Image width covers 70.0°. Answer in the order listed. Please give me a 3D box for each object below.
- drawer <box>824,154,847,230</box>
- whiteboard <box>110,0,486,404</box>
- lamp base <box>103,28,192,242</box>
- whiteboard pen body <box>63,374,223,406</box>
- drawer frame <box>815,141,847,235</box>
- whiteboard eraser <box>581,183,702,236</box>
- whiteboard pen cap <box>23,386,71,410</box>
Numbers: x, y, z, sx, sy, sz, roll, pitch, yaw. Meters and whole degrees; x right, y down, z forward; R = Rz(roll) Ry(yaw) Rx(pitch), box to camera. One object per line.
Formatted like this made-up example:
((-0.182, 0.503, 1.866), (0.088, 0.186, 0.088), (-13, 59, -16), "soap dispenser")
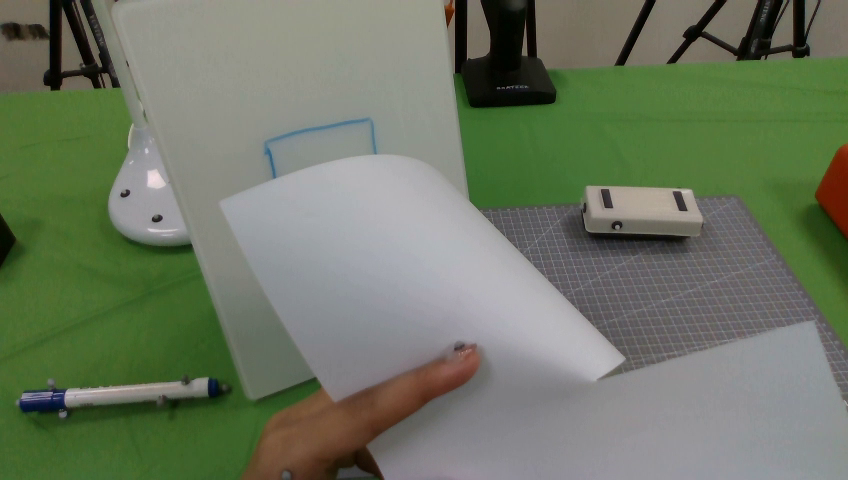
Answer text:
((0.529, -0.002, 0.566), (0.194, 0.074, 0.209), (-2, 42, 0), "drawer")
((-0.090, -0.060, 0.511), (0.217, 0.308, 0.142), (-18, 26, -17), "whiteboard")
((-0.271, -0.115, 0.622), (0.178, 0.182, 0.160), (26, 49, 29), "lamp base")
((-0.234, 0.121, 0.483), (0.141, 0.017, 0.017), (-3, 43, -8), "whiteboard pen body")
((0.528, -0.007, 0.571), (0.202, 0.083, 0.211), (-3, 42, -1), "drawer frame")
((0.221, -0.030, 0.624), (0.112, 0.042, 0.055), (2, 41, 2), "whiteboard eraser")
((-0.294, 0.124, 0.475), (0.033, 0.018, 0.018), (-2, 42, -10), "whiteboard pen cap")
